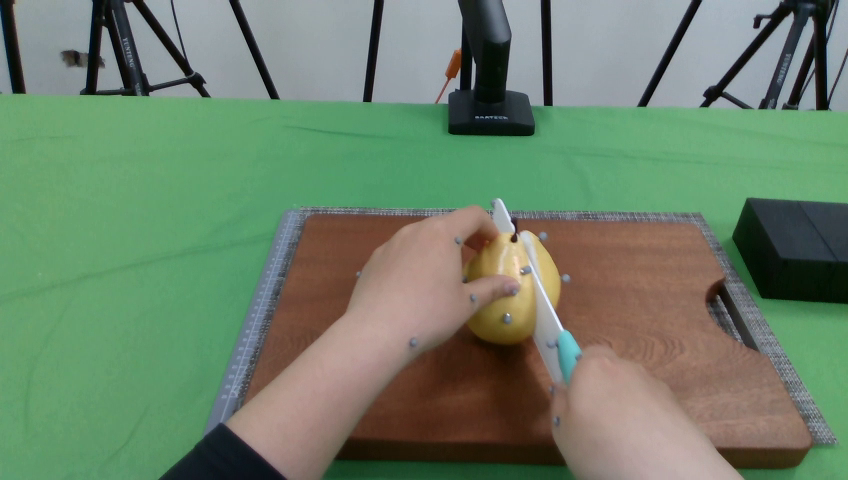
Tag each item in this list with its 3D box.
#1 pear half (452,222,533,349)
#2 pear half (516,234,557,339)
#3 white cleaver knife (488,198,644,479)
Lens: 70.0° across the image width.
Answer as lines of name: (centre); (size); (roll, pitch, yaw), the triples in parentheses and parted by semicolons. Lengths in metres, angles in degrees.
pear half: (0.051, 0.033, 0.465); (0.056, 0.111, 0.075); (-11, 35, -15)
pear half: (0.088, 0.034, 0.481); (0.031, 0.088, 0.069); (-7, 29, -19)
white cleaver knife: (0.091, 0.074, 0.431); (0.021, 0.066, 0.283); (-12, 45, -5)
